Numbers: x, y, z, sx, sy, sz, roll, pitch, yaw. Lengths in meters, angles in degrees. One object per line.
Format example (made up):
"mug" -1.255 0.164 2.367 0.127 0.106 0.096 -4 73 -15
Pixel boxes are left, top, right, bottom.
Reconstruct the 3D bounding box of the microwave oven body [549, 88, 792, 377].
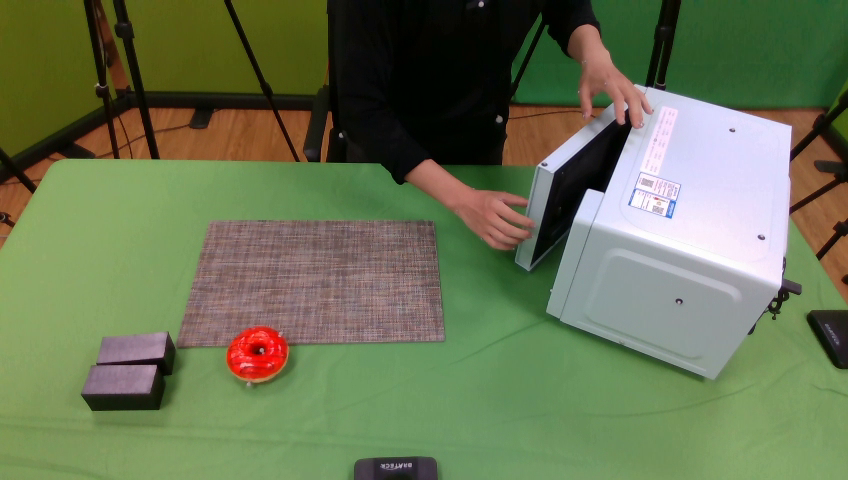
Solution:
"microwave oven body" 0.456 -0.028 1.088 0.325 0.261 0.440 20 47 16

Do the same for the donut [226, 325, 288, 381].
"donut" -0.270 0.182 0.984 0.099 0.048 0.098 5 49 -5

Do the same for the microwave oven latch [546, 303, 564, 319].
"microwave oven latch" 0.242 0.102 1.081 0.030 0.029 0.079 21 48 17

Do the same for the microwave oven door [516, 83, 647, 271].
"microwave oven door" 0.307 -0.126 1.163 0.039 0.245 0.355 33 53 26
